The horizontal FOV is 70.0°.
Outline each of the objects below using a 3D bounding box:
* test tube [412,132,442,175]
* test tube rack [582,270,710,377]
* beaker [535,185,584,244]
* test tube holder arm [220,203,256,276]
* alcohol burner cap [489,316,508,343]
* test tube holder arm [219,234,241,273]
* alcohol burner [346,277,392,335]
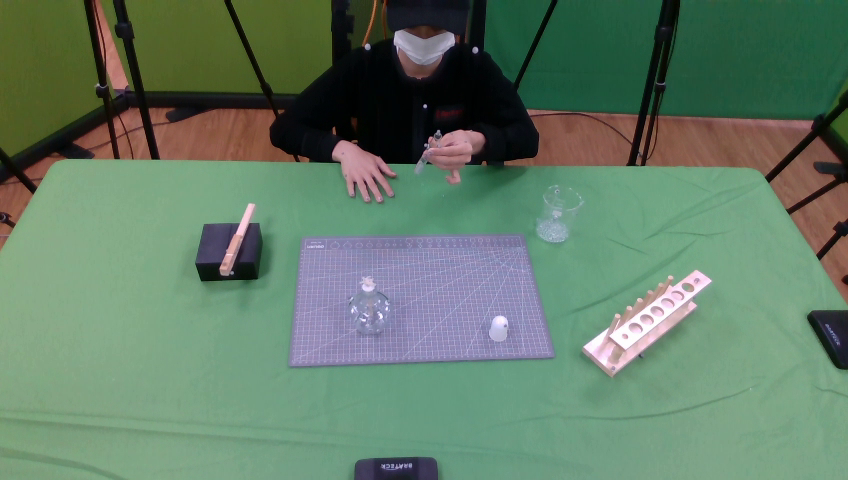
[{"bbox_3d":[0.003,-0.159,1.138,0.017,0.150,0.017,6,69,-16],"label":"test tube"},{"bbox_3d":[0.389,0.132,1.057,0.242,0.085,0.066,-28,53,-28],"label":"test tube rack"},{"bbox_3d":[0.268,-0.048,1.213,0.084,0.101,0.073,6,46,0],"label":"beaker"},{"bbox_3d":[-0.340,-0.004,1.112,0.015,0.013,0.177,5,46,1],"label":"test tube holder arm"},{"bbox_3d":[0.130,0.151,1.045,0.034,0.048,0.033,2,46,-2],"label":"alcohol burner cap"},{"bbox_3d":[-0.344,0.023,1.076,0.015,0.010,0.087,5,45,1],"label":"test tube holder arm"},{"bbox_3d":[-0.093,0.106,1.021,0.078,0.120,0.077,1,46,-1],"label":"alcohol burner"}]
